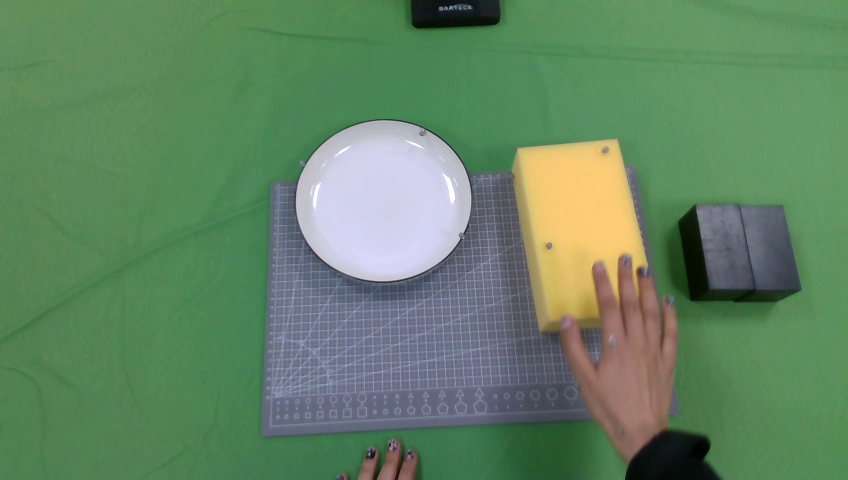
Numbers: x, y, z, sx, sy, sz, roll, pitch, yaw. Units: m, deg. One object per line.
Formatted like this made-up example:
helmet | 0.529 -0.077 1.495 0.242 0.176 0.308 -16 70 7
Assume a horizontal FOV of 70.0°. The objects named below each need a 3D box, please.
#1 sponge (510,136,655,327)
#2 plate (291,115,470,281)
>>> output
sponge | 0.174 -0.011 0.692 0.118 0.061 0.205 -6 71 -2
plate | -0.050 -0.048 0.716 0.209 0.038 0.207 0 71 -1
